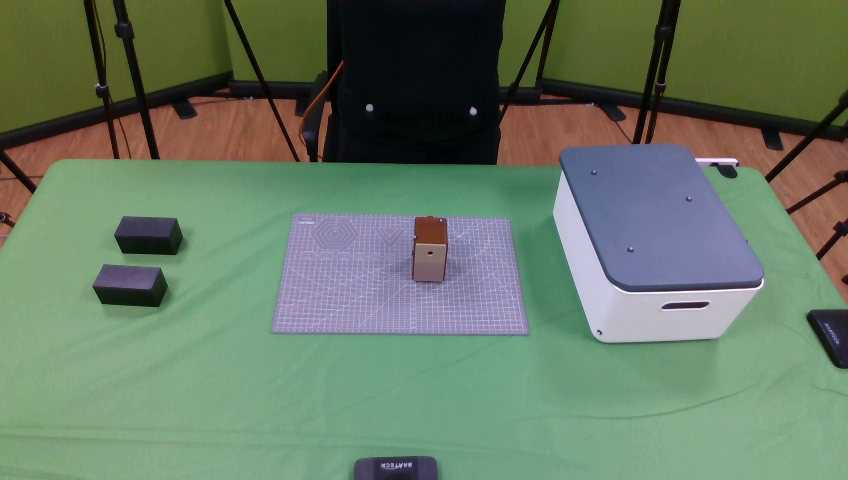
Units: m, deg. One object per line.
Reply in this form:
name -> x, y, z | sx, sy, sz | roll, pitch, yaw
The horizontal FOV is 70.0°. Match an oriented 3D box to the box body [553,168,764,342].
box body -> 0.403, 0.006, 1.125 | 0.254, 0.161, 0.361 | -2, 46, -5

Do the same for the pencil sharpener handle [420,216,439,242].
pencil sharpener handle -> 0.008, -0.027, 1.145 | 0.036, 0.068, 0.030 | 6, 45, -6

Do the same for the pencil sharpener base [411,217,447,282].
pencil sharpener base -> 0.009, 0.017, 1.118 | 0.061, 0.107, 0.076 | 1, 45, -2

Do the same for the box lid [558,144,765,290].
box lid -> 0.403, -0.054, 1.073 | 0.263, 0.015, 0.369 | -2, 45, -5
